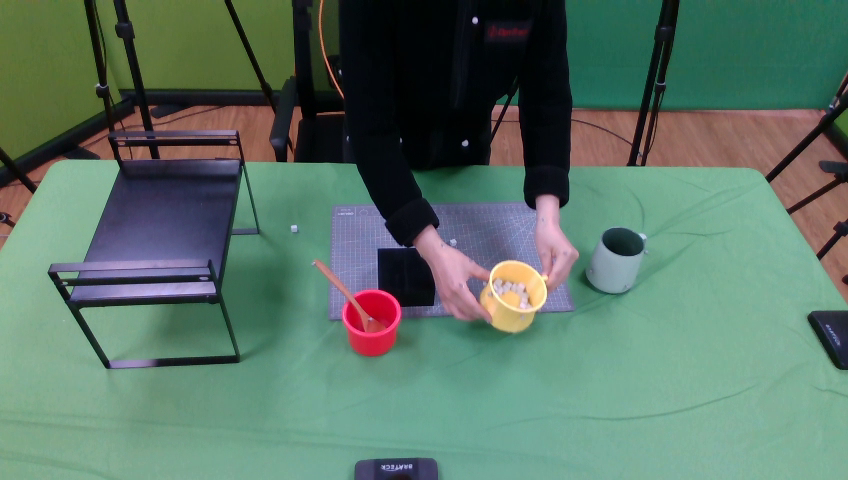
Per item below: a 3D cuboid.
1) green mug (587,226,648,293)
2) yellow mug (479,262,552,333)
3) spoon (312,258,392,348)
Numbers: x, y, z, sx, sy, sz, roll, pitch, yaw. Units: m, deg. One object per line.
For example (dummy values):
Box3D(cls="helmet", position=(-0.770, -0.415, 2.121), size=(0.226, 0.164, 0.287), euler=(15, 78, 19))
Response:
Box3D(cls="green mug", position=(0.372, 0.030, 1.136), size=(0.125, 0.105, 0.092), euler=(-27, 53, -26))
Box3D(cls="yellow mug", position=(0.161, 0.091, 1.014), size=(0.131, 0.064, 0.099), euler=(-17, 59, -28))
Box3D(cls="spoon", position=(-0.119, 0.104, 1.005), size=(0.194, 0.021, 0.041), euler=(54, 48, -14))
